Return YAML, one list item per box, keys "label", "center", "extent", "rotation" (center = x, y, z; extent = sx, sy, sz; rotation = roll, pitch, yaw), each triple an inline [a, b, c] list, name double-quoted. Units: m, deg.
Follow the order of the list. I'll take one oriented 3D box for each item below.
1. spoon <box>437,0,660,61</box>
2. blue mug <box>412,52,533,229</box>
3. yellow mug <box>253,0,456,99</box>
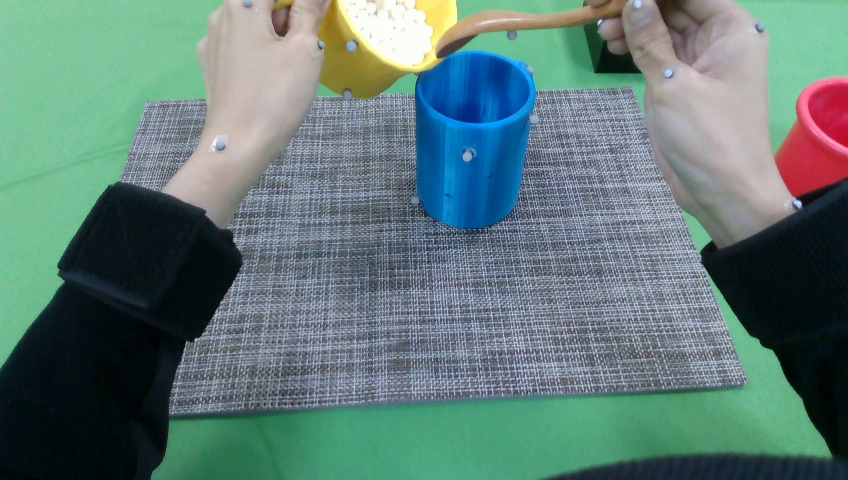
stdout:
- label: "spoon"
  center: [0.076, -0.122, 0.330]
  extent: [0.041, 0.022, 0.192]
  rotation: [-31, 24, -36]
- label: "blue mug"
  center: [0.044, -0.081, 0.459]
  extent: [0.082, 0.107, 0.116]
  rotation: [35, 60, 23]
- label: "yellow mug"
  center: [-0.048, -0.149, 0.397]
  extent: [0.131, 0.063, 0.100]
  rotation: [-17, 95, -39]
